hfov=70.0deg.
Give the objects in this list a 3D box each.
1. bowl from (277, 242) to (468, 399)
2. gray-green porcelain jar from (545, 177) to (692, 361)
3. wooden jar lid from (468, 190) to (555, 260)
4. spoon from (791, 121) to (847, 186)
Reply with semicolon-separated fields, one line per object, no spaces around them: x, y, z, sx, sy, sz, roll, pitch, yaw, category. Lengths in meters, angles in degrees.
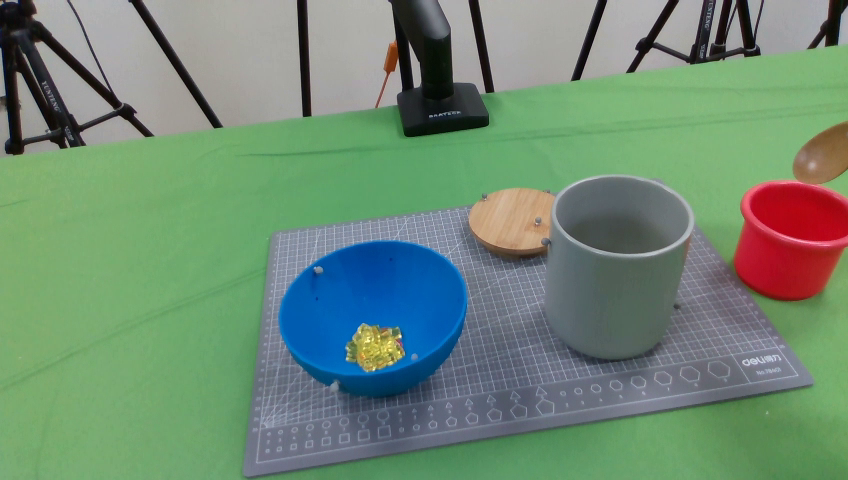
-0.037;0.078;0.502;0.151;0.077;0.150;-3;40;3;bowl
0.154;0.028;0.500;0.106;0.128;0.105;-4;40;3;gray-green porcelain jar
0.101;-0.016;0.645;0.108;0.021;0.107;-4;38;3;wooden jar lid
0.298;-0.089;0.372;0.021;0.195;0.041;8;66;-1;spoon
